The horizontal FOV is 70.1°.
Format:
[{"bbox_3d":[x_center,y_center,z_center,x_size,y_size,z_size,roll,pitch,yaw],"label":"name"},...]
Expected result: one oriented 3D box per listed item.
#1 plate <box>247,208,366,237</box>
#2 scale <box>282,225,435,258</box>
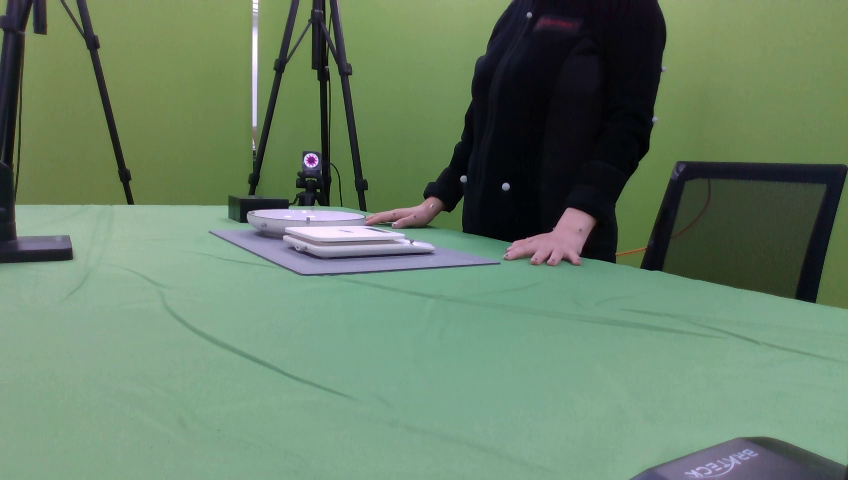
[{"bbox_3d":[-0.208,-0.030,1.082,0.209,0.038,0.209,2,7,0],"label":"plate"},{"bbox_3d":[-0.098,0.000,0.914,0.202,0.031,0.148,-2,9,-33],"label":"scale"}]
